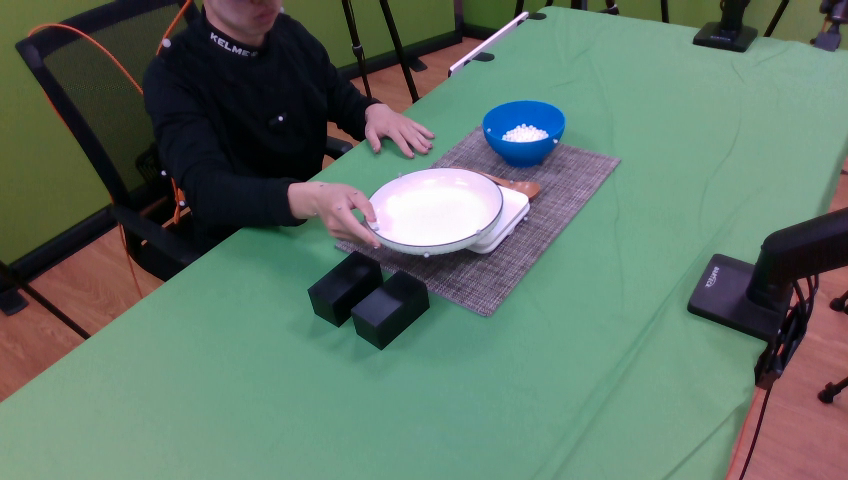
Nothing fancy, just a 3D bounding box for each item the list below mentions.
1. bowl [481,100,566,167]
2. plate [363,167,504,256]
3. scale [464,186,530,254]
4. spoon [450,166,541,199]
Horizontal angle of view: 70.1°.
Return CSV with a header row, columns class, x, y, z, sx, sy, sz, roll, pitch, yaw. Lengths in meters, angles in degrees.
class,x,y,z,sx,sy,sz,roll,pitch,yaw
bowl,0.183,-0.187,1.111,0.151,0.077,0.150,-4,41,4
plate,0.015,-0.041,0.895,0.209,0.038,0.208,-6,37,5
scale,0.060,-0.050,1.006,0.199,0.032,0.149,22,48,30
spoon,0.120,-0.107,1.071,0.192,0.022,0.041,23,64,31
